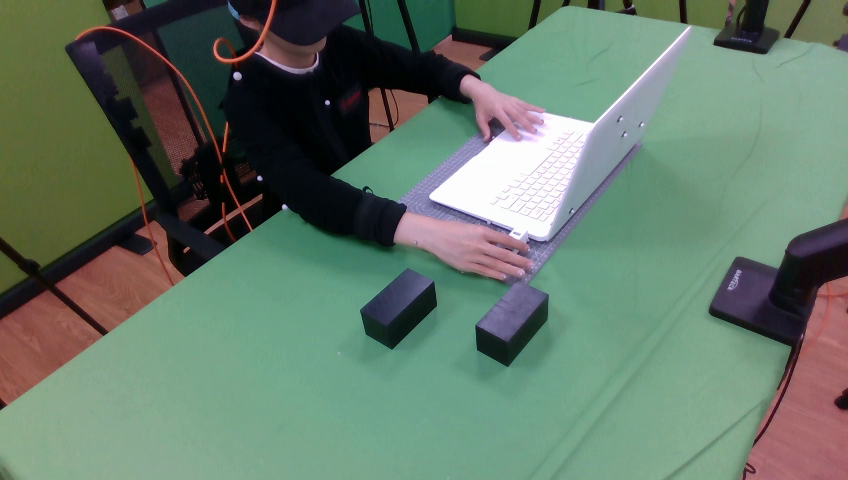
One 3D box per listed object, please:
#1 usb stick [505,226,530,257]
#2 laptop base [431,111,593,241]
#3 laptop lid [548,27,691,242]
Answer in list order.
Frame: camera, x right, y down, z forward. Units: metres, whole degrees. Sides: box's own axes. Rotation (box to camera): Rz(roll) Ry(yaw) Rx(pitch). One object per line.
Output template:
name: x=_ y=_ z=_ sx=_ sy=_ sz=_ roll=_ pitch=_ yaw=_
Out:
usb stick: x=0.149 y=-0.002 z=0.940 sx=0.021 sy=0.027 sz=0.059 roll=23 pitch=46 yaw=31
laptop base: x=0.207 y=-0.129 z=1.100 sx=0.233 sy=0.023 sz=0.355 roll=20 pitch=48 yaw=33
laptop lid: x=0.310 y=-0.168 z=0.950 sx=0.013 sy=0.242 sz=0.358 roll=33 pitch=52 yaw=20
